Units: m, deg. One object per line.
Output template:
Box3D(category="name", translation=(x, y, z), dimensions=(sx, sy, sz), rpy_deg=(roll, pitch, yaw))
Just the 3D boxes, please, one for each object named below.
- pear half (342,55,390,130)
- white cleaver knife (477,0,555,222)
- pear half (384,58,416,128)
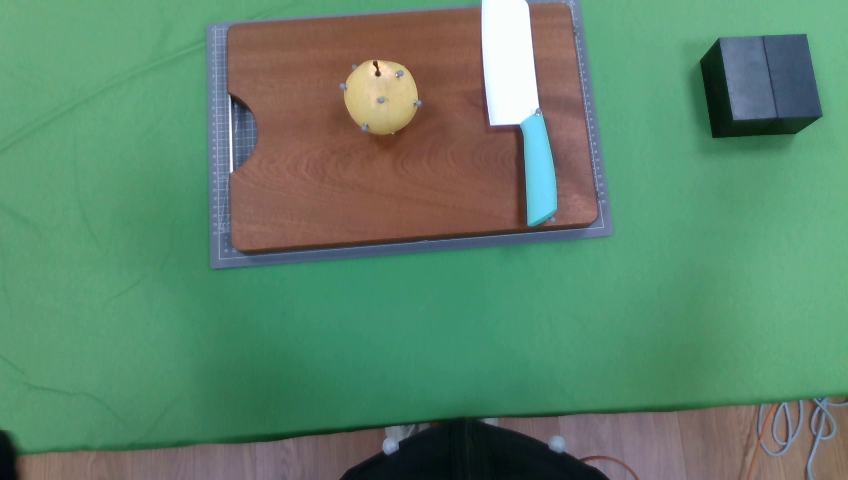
Box3D(category="pear half", translation=(-0.059, -0.160, 0.628), dimensions=(0.056, 0.110, 0.076), rpy_deg=(-2, 73, 0))
Box3D(category="white cleaver knife", translation=(0.100, -0.155, 0.679), dimensions=(0.066, 0.021, 0.284), rpy_deg=(-6, 73, 4))
Box3D(category="pear half", translation=(-0.025, -0.157, 0.638), dimensions=(0.031, 0.088, 0.070), rpy_deg=(-1, 73, -1))
